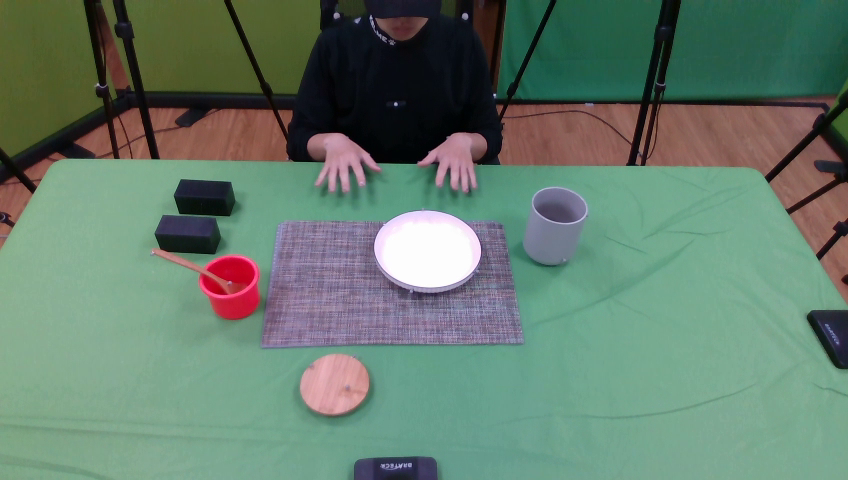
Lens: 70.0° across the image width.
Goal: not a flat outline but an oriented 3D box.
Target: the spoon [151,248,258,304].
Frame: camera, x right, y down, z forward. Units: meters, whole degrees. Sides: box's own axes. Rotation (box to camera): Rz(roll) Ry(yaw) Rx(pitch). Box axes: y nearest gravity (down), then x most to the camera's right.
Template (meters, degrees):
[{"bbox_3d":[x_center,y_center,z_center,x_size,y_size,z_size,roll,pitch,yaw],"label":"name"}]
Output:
[{"bbox_3d":[-0.369,0.058,1.028,0.195,0.021,0.041,36,35,-32],"label":"spoon"}]

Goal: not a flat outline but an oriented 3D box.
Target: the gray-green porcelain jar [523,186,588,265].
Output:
[{"bbox_3d":[0.249,-0.022,1.164,0.106,0.127,0.105,2,46,-2],"label":"gray-green porcelain jar"}]

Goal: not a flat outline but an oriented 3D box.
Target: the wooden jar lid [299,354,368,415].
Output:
[{"bbox_3d":[-0.143,0.232,0.964,0.108,0.021,0.107,2,45,-2],"label":"wooden jar lid"}]

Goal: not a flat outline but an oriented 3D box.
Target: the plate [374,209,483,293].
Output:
[{"bbox_3d":[0.008,0.024,1.158,0.208,0.039,0.206,2,46,-2],"label":"plate"}]
